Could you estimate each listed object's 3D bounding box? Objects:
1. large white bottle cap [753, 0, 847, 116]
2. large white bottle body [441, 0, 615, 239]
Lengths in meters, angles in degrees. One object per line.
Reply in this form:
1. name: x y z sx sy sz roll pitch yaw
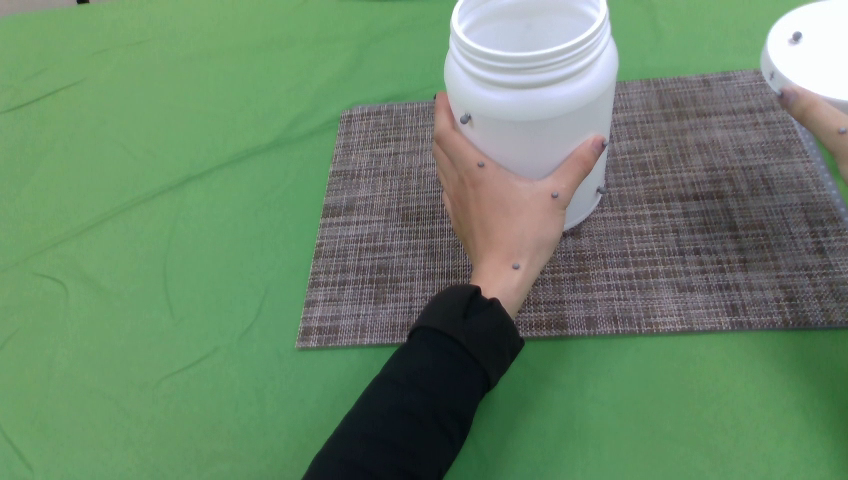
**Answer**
1. large white bottle cap: 0.304 -0.136 0.441 0.114 0.018 0.113 -6 55 8
2. large white bottle body: 0.084 -0.104 0.493 0.130 0.186 0.129 -5 52 7
